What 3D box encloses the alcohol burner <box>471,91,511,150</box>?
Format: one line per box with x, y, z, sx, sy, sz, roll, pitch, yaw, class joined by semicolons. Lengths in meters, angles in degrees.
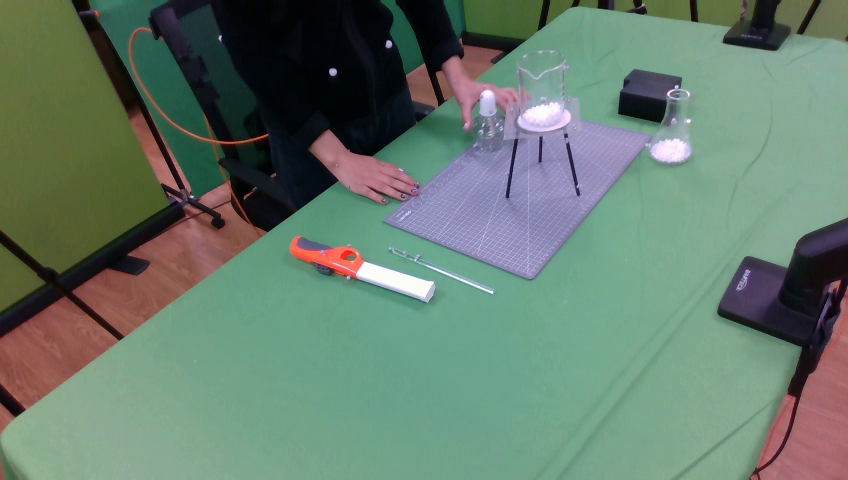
0.127;-0.234;1.161;0.078;0.120;0.077;-6;42;6;alcohol burner

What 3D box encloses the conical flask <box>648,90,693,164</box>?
0.437;-0.199;1.057;0.075;0.122;0.075;-5;40;5;conical flask

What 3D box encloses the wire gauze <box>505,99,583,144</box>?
0.195;-0.199;0.988;0.121;0.011;0.124;-3;41;13;wire gauze

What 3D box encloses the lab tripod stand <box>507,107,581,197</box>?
0.201;-0.151;1.033;0.148;0.132;0.147;-7;39;6;lab tripod stand

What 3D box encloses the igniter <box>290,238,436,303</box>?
-0.106;0.044;0.949;0.274;0.025;0.057;16;57;27;igniter

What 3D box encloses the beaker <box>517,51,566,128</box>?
0.186;-0.235;0.957;0.073;0.101;0.084;4;42;18;beaker

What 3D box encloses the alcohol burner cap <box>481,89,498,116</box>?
0.123;-0.260;1.136;0.034;0.048;0.033;-4;50;5;alcohol burner cap

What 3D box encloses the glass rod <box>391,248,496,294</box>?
0.026;0.045;0.937;0.198;0.008;0.008;21;49;31;glass rod
